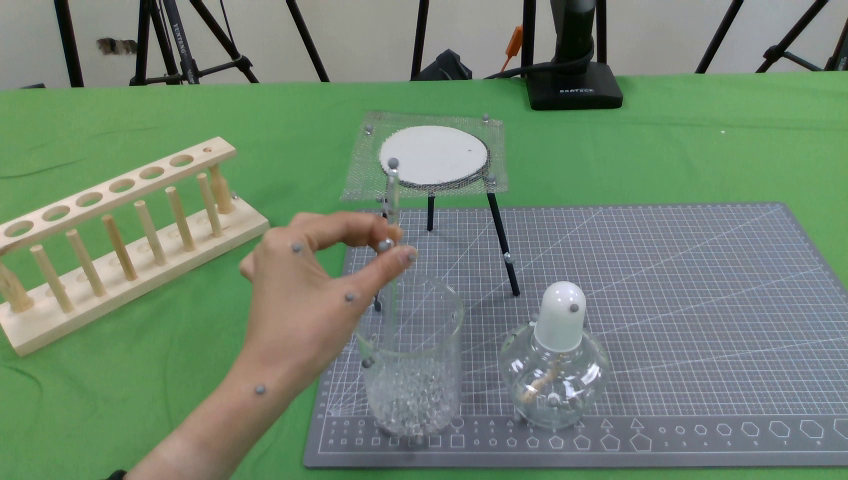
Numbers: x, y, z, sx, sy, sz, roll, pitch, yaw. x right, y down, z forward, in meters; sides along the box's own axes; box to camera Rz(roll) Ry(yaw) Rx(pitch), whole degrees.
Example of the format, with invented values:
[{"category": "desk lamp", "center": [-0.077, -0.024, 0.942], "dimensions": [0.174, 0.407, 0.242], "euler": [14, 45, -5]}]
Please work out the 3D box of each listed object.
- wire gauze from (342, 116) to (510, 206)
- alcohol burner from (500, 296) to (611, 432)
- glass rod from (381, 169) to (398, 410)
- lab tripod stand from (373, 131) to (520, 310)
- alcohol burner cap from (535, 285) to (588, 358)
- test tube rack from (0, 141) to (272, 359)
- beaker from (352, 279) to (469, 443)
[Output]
[{"category": "wire gauze", "center": [0.005, -0.065, 0.476], "dimensions": [0.121, 0.011, 0.124], "euler": [2, 40, 4]}, {"category": "alcohol burner", "center": [0.092, 0.078, 0.418], "dimensions": [0.078, 0.120, 0.077], "euler": [-1, 42, 1]}, {"category": "glass rod", "center": [-0.024, 0.043, 0.395], "dimensions": [0.008, 0.201, 0.008], "euler": [3, 35, -2]}, {"category": "lab tripod stand", "center": [0.016, -0.015, 0.521], "dimensions": [0.148, 0.132, 0.147], "euler": [0, 38, 1]}, {"category": "alcohol burner cap", "center": [0.092, 0.051, 0.395], "dimensions": [0.034, 0.048, 0.033], "euler": [1, 41, 0]}, {"category": "test tube rack", "center": [-0.270, 0.000, 0.560], "dimensions": [0.242, 0.086, 0.066], "euler": [-31, 47, -30]}, {"category": "beaker", "center": [-0.010, 0.086, 0.426], "dimensions": [0.074, 0.101, 0.083], "euler": [-33, 47, -31]}]
